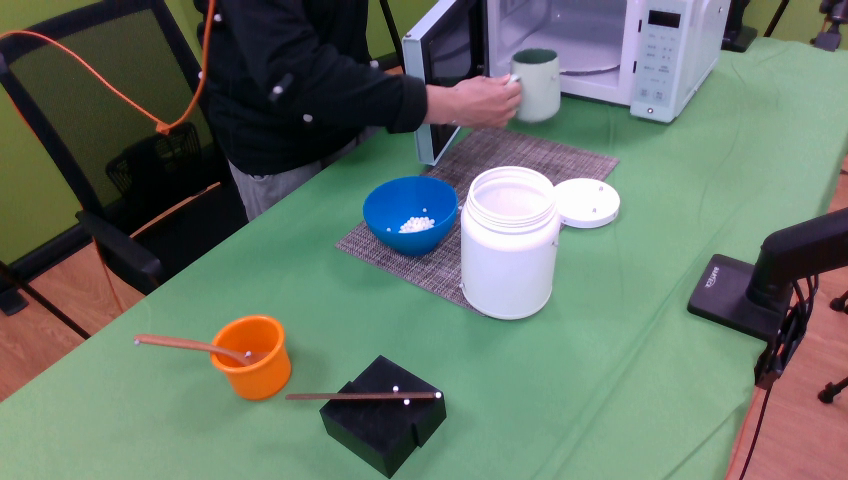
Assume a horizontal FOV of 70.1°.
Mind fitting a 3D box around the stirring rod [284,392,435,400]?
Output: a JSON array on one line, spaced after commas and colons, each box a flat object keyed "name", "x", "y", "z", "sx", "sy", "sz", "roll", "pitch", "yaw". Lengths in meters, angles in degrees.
[{"name": "stirring rod", "x": -0.075, "y": 0.180, "z": 0.698, "sx": 0.176, "sy": 0.006, "sz": 0.014, "roll": -1, "pitch": 6, "yaw": 6}]

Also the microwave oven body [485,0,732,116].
[{"name": "microwave oven body", "x": 0.377, "y": -0.462, "z": 1.267, "sx": 0.438, "sy": 0.261, "sz": 0.327, "roll": 21, "pitch": 49, "yaw": 30}]

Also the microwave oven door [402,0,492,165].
[{"name": "microwave oven door", "x": 0.056, "y": -0.343, "z": 1.167, "sx": 0.039, "sy": 0.245, "sz": 0.356, "roll": 10, "pitch": 44, "yaw": 20}]

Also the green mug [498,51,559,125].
[{"name": "green mug", "x": 0.176, "y": -0.255, "z": 1.039, "sx": 0.126, "sy": 0.105, "sz": 0.091, "roll": -31, "pitch": 44, "yaw": -28}]

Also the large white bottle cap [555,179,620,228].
[{"name": "large white bottle cap", "x": 0.265, "y": -0.062, "z": 1.001, "sx": 0.115, "sy": 0.018, "sz": 0.114, "roll": -4, "pitch": 41, "yaw": 4}]

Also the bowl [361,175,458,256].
[{"name": "bowl", "x": -0.019, "y": -0.028, "z": 0.955, "sx": 0.151, "sy": 0.077, "sz": 0.150, "roll": -4, "pitch": 40, "yaw": 3}]

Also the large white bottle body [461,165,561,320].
[{"name": "large white bottle body", "x": 0.115, "y": 0.004, "z": 0.815, "sx": 0.130, "sy": 0.185, "sz": 0.130, "roll": -2, "pitch": 43, "yaw": 2}]

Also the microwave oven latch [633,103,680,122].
[{"name": "microwave oven latch", "x": 0.443, "y": -0.249, "z": 1.157, "sx": 0.078, "sy": 0.029, "sz": 0.030, "roll": 21, "pitch": 49, "yaw": 30}]

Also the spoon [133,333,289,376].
[{"name": "spoon", "x": -0.257, "y": 0.137, "z": 0.747, "sx": 0.021, "sy": 0.195, "sz": 0.041, "roll": -46, "pitch": 40, "yaw": 23}]
